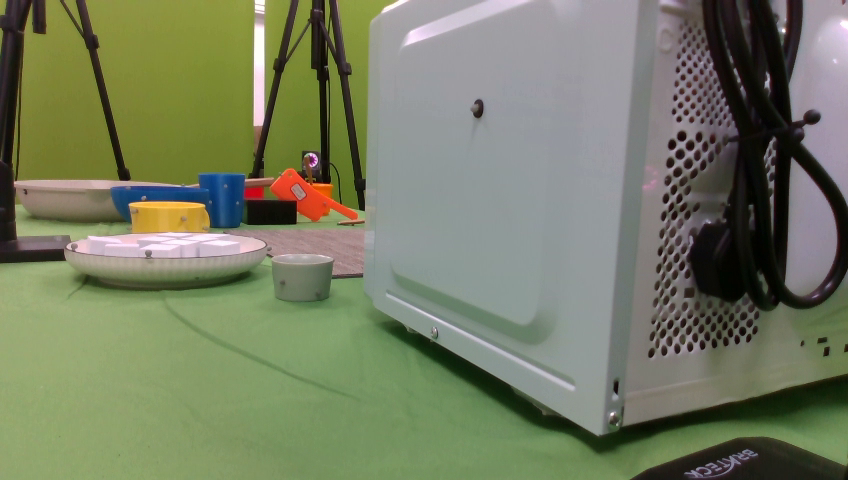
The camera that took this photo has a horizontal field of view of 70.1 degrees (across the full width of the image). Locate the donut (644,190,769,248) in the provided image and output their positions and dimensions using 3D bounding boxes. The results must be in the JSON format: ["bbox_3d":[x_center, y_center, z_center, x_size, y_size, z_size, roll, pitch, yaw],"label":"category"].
[{"bbox_3d":[0.240,-0.017,0.517,0.099,0.048,0.099,2,3,0],"label":"donut"}]

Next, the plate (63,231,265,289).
[{"bbox_3d":[-0.288,0.021,0.687,0.208,0.039,0.207,2,8,0],"label":"plate"}]

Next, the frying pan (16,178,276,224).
[{"bbox_3d":[-0.554,-0.096,1.266,0.490,0.102,0.305,-10,13,-24],"label":"frying pan"}]

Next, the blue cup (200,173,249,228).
[{"bbox_3d":[-0.381,-0.076,1.155,0.093,0.100,0.092,0,8,0],"label":"blue cup"}]

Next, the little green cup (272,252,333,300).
[{"bbox_3d":[-0.122,0.035,0.604,0.061,0.038,0.061,5,6,0],"label":"little green cup"}]

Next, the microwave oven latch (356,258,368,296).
[{"bbox_3d":[-0.019,0.031,0.528,0.079,0.029,0.030,-1,7,-24],"label":"microwave oven latch"}]

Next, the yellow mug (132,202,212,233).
[{"bbox_3d":[-0.356,-0.020,0.878,0.099,0.064,0.131,5,7,21],"label":"yellow mug"}]

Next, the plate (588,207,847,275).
[{"bbox_3d":[0.245,-0.001,0.511,0.209,0.038,0.209,2,7,0],"label":"plate"}]

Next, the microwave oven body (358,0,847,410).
[{"bbox_3d":[0.210,-0.051,0.471,0.444,0.260,0.324,-1,7,-28],"label":"microwave oven body"}]

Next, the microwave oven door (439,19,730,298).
[{"bbox_3d":[0.181,-0.076,0.618,0.358,0.243,0.039,-2,8,-28],"label":"microwave oven door"}]

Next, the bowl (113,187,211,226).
[{"bbox_3d":[-0.436,-0.046,1.013,0.151,0.077,0.151,2,7,0],"label":"bowl"}]

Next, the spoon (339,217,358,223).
[{"bbox_3d":[-0.087,-0.041,1.268,0.193,0.021,0.041,4,24,13],"label":"spoon"}]

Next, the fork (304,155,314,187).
[{"bbox_3d":[-0.268,-0.134,1.447,0.028,0.018,0.207,2,-36,-1],"label":"fork"}]

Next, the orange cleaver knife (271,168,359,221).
[{"bbox_3d":[-0.236,-0.084,1.333,0.212,0.077,0.012,31,-10,-32],"label":"orange cleaver knife"}]
